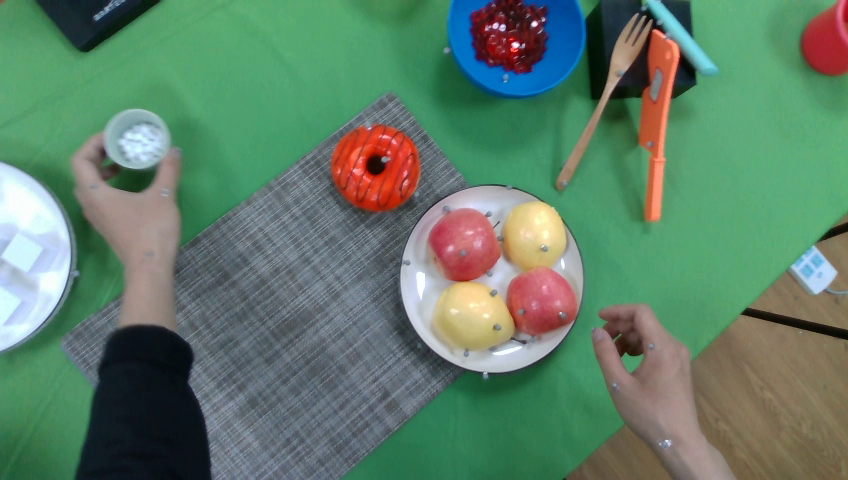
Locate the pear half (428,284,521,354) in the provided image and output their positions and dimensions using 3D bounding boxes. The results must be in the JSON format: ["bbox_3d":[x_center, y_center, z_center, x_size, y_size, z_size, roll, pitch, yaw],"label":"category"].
[{"bbox_3d":[0.063,0.092,0.655,0.110,0.056,0.076,24,87,-9],"label":"pear half"}]

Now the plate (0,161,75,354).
[{"bbox_3d":[-0.461,0.020,0.616,0.208,0.039,0.207,1,85,-7],"label":"plate"}]

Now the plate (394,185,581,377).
[{"bbox_3d":[0.069,0.044,0.674,0.209,0.038,0.208,1,85,-7],"label":"plate"}]

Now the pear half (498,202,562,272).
[{"bbox_3d":[0.116,0.003,0.669,0.070,0.031,0.088,-6,99,17],"label":"pear half"}]

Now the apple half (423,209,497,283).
[{"bbox_3d":[0.040,0.007,0.656,0.075,0.053,0.081,-21,91,-8],"label":"apple half"}]

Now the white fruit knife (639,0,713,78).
[{"bbox_3d":[0.257,-0.265,0.688,0.027,0.016,0.207,-37,88,-38],"label":"white fruit knife"}]

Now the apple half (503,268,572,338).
[{"bbox_3d":[0.119,0.071,0.659,0.081,0.033,0.081,2,97,15],"label":"apple half"}]

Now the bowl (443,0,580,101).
[{"bbox_3d":[0.090,-0.221,0.683,0.152,0.077,0.151,1,86,-7],"label":"bowl"}]

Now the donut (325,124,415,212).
[{"bbox_3d":[-0.059,-0.079,0.666,0.099,0.048,0.099,0,87,-5],"label":"donut"}]

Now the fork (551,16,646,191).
[{"bbox_3d":[0.192,-0.149,0.684,0.028,0.018,0.208,20,103,-13],"label":"fork"}]

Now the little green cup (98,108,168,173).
[{"bbox_3d":[-0.296,-0.099,0.624,0.061,0.039,0.061,1,78,-4],"label":"little green cup"}]

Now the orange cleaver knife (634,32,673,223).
[{"bbox_3d":[0.256,-0.126,0.692,0.012,0.076,0.212,-3,111,-2],"label":"orange cleaver knife"}]

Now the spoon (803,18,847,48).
[{"bbox_3d":[0.540,-0.224,0.703,0.041,0.022,0.191,-45,47,-9],"label":"spoon"}]
